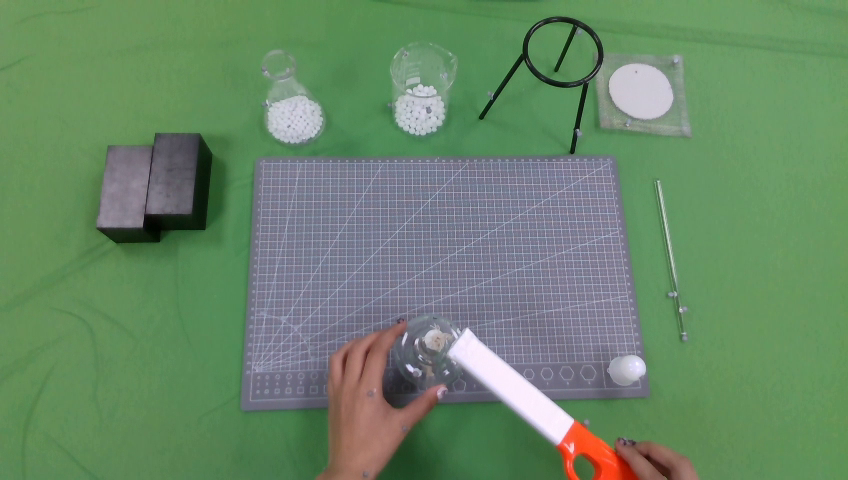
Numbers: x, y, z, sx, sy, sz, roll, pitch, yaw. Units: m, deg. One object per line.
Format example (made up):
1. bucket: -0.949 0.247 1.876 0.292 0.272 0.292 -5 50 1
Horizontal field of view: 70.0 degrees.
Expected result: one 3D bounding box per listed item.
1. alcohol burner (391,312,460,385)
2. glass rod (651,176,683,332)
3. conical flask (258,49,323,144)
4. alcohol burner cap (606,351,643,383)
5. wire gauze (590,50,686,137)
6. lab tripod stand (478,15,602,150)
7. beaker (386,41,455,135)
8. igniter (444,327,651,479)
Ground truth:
1. alcohol burner: 0.005 0.109 0.627 0.078 0.119 0.077 2 70 -4
2. glass rod: 0.295 0.013 0.735 0.008 0.008 0.198 -1 72 -4
3. conical flask: -0.161 -0.170 0.705 0.075 0.122 0.075 1 71 -3
4. alcohol burner cap: 0.224 0.138 0.669 0.034 0.048 0.033 1 71 -3
5. wire gauze: 0.284 -0.198 0.803 0.125 0.011 0.120 4 73 -4
6. lab tripod stand: 0.144 -0.189 0.725 0.148 0.132 0.147 1 74 -2
7. beaker: -0.005 -0.180 0.731 0.084 0.101 0.073 -27 75 -12
8. igniter: 0.132 0.180 0.552 0.276 0.025 0.057 40 71 2
